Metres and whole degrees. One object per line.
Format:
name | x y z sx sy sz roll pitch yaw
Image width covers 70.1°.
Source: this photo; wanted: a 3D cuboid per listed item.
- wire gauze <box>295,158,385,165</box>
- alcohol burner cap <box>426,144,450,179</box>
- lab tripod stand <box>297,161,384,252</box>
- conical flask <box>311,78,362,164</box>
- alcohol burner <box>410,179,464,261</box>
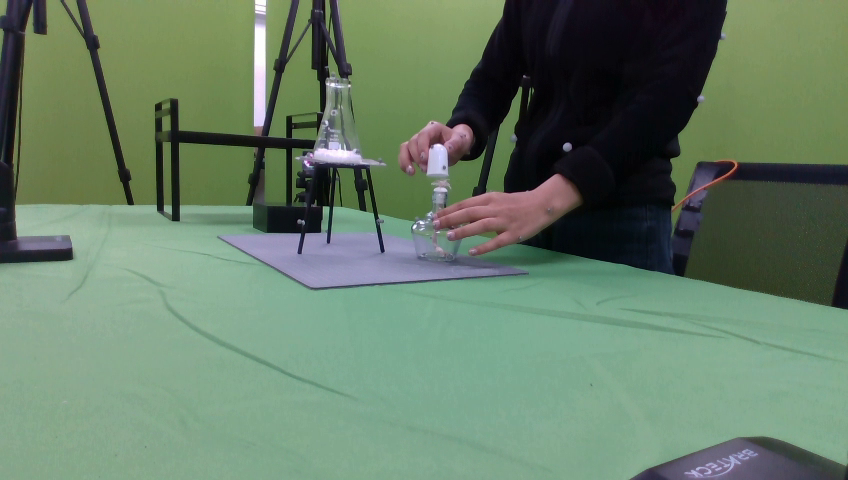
wire gauze | -0.128 -0.117 0.901 0.125 0.011 0.121 -2 8 -14
alcohol burner cap | 0.020 -0.111 0.856 0.034 0.048 0.034 0 -1 0
lab tripod stand | -0.131 -0.051 0.903 0.148 0.131 0.148 3 9 0
conical flask | -0.128 -0.174 0.890 0.075 0.122 0.075 3 8 0
alcohol burner | 0.020 -0.029 0.864 0.078 0.119 0.078 5 6 0
